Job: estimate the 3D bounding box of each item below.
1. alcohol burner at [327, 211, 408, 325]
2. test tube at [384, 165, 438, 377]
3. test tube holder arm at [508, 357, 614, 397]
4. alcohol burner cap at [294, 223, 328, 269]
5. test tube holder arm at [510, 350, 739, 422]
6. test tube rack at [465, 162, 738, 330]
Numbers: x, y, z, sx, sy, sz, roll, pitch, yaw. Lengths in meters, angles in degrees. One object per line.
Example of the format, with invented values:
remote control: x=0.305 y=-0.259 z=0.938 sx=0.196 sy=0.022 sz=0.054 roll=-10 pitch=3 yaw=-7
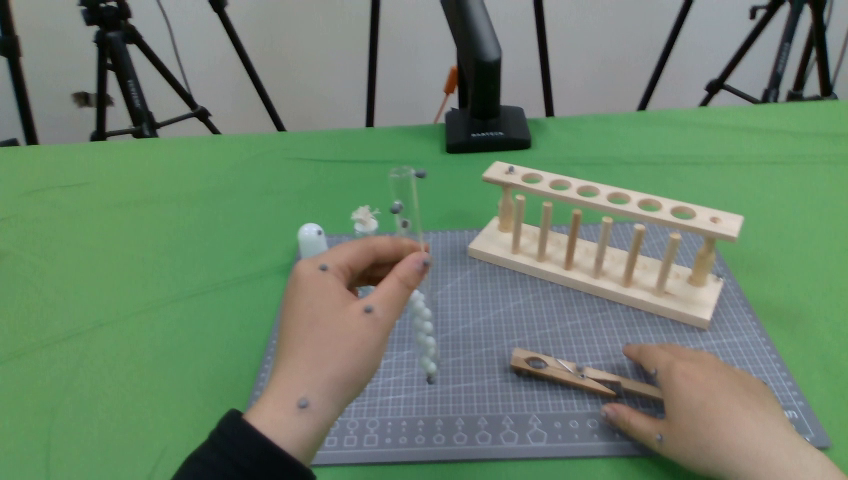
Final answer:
alcohol burner: x=-0.054 y=0.021 z=0.560 sx=0.078 sy=0.120 sz=0.077 roll=-1 pitch=38 yaw=2
test tube: x=-0.007 y=0.025 z=0.386 sx=0.017 sy=0.151 sz=0.017 roll=-6 pitch=25 yaw=3
test tube holder arm: x=0.113 y=0.113 z=0.502 sx=0.087 sy=0.015 sz=0.010 roll=11 pitch=73 yaw=18
alcohol burner cap: x=-0.123 y=0.004 z=0.651 sx=0.034 sy=0.048 sz=0.033 roll=-2 pitch=38 yaw=2
test tube holder arm: x=0.157 y=0.116 z=0.489 sx=0.177 sy=0.015 sz=0.013 roll=11 pitch=73 yaw=18
test tube rack: x=0.161 y=-0.001 z=0.593 sx=0.240 sy=0.086 sz=0.066 roll=17 pitch=42 yaw=27
